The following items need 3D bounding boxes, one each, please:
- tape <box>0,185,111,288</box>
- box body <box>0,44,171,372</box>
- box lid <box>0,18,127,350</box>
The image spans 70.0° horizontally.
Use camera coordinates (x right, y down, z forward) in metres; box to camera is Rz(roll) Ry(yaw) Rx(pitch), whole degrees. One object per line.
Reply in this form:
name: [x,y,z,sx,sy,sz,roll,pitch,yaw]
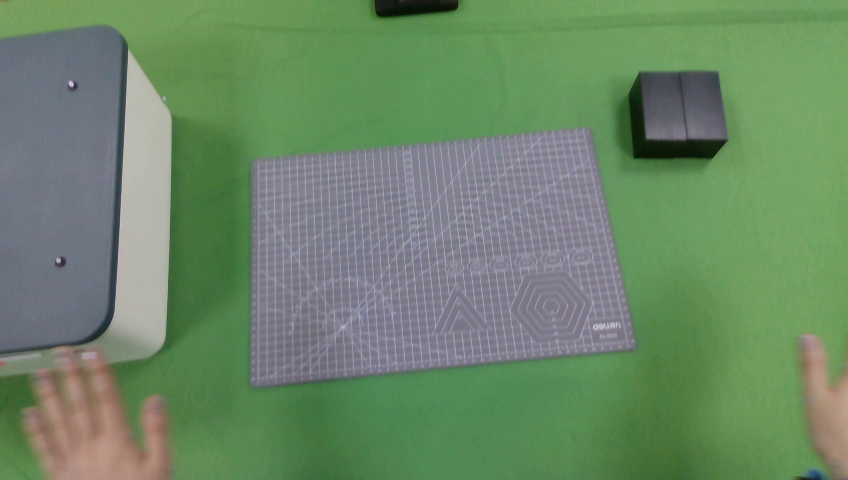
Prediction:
tape: [-0.449,-0.004,0.734,0.117,0.053,0.116,-1,69,4]
box body: [-0.442,-0.039,0.696,0.254,0.161,0.361,-7,71,-1]
box lid: [-0.444,-0.067,0.627,0.263,0.015,0.369,-7,72,-1]
